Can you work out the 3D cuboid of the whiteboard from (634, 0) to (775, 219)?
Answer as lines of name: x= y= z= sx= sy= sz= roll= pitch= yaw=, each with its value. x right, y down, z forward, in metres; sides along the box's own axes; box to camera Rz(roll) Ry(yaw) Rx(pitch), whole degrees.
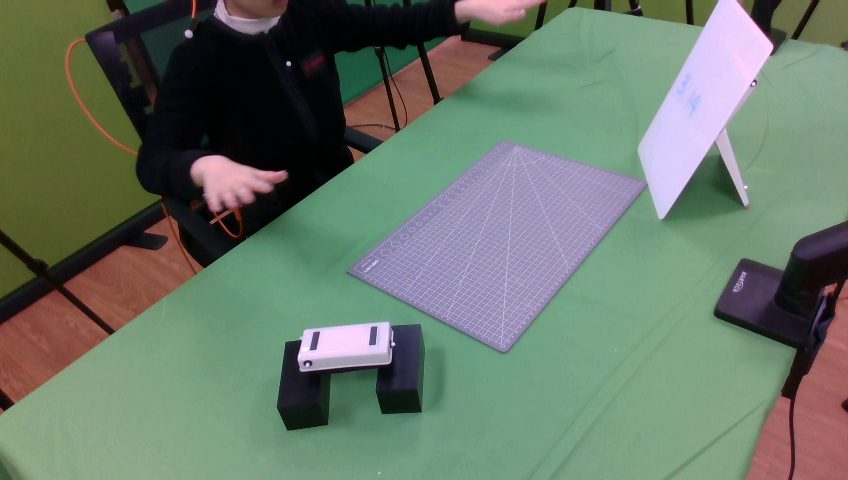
whiteboard: x=0.485 y=-0.193 z=0.957 sx=0.144 sy=0.305 sz=0.216 roll=14 pitch=41 yaw=-4

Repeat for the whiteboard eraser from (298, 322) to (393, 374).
whiteboard eraser: x=-0.094 y=0.134 z=0.740 sx=0.113 sy=0.042 sz=0.055 roll=-5 pitch=41 yaw=3
